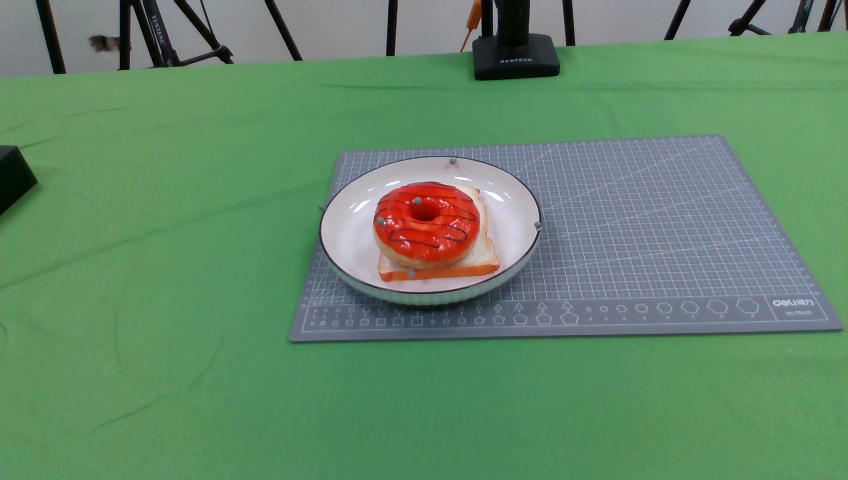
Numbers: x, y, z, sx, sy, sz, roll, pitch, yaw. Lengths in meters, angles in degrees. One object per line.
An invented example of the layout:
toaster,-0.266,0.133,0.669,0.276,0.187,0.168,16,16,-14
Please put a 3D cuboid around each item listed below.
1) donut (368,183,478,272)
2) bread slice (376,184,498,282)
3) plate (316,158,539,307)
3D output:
donut,-0.001,-0.012,0.540,0.099,0.049,0.098,-1,43,1
bread slice,0.006,-0.010,0.581,0.107,0.018,0.133,-5,40,-3
plate,0.004,-0.007,0.577,0.209,0.038,0.207,-2,40,2
